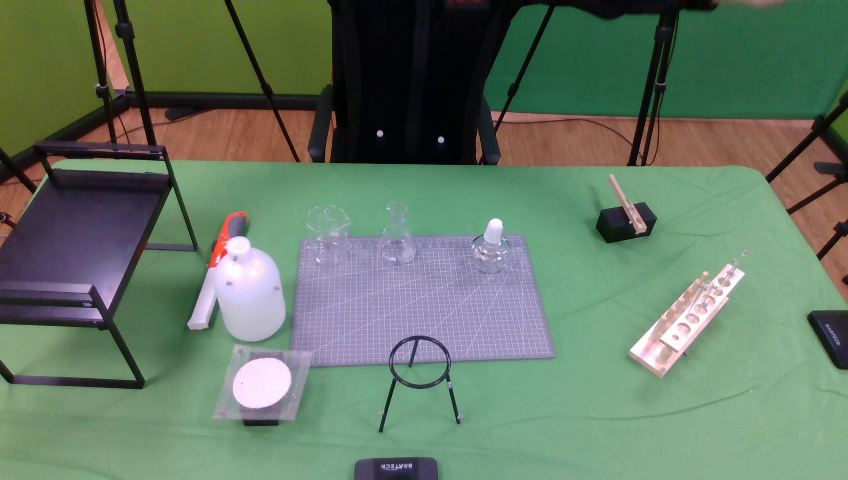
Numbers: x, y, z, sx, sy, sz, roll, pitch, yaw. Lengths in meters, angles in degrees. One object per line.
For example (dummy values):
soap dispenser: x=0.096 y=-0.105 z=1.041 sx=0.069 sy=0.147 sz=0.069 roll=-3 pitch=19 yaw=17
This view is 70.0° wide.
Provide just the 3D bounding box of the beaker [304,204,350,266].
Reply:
beaker: x=-0.178 y=-0.006 z=1.132 sx=0.084 sy=0.101 sz=0.073 roll=4 pitch=46 yaw=-1

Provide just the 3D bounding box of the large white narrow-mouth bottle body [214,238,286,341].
large white narrow-mouth bottle body: x=-0.285 y=0.073 z=0.986 sx=0.102 sy=0.195 sz=0.101 roll=2 pitch=46 yaw=-2

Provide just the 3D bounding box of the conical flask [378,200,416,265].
conical flask: x=-0.050 y=-0.018 z=1.136 sx=0.075 sy=0.122 sz=0.075 roll=2 pitch=46 yaw=-2

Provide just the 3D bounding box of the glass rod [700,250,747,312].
glass rod: x=0.500 y=0.075 z=1.021 sx=0.008 sy=0.201 sz=0.008 roll=0 pitch=55 yaw=1

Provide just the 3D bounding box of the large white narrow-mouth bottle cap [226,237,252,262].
large white narrow-mouth bottle cap: x=-0.282 y=0.014 z=0.923 sx=0.038 sy=0.024 sz=0.037 roll=2 pitch=46 yaw=-2

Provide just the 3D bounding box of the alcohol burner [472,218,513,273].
alcohol burner: x=0.128 y=0.005 z=1.132 sx=0.078 sy=0.120 sz=0.077 roll=0 pitch=47 yaw=0

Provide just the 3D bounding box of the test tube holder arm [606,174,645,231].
test tube holder arm: x=0.410 y=-0.080 z=1.238 sx=0.013 sy=0.015 sz=0.177 roll=1 pitch=41 yaw=-14

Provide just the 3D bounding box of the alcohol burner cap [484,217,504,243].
alcohol burner cap: x=0.130 y=-0.021 z=1.106 sx=0.034 sy=0.048 sz=0.033 roll=5 pitch=46 yaw=-5

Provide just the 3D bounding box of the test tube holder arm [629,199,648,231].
test tube holder arm: x=0.423 y=-0.050 z=1.206 sx=0.010 sy=0.015 sz=0.087 roll=2 pitch=41 yaw=-13

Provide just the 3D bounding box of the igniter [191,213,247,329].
igniter: x=-0.376 y=0.047 z=1.121 sx=0.057 sy=0.025 sz=0.275 roll=-4 pitch=46 yaw=6

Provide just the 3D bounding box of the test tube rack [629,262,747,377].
test tube rack: x=0.464 y=0.126 z=1.060 sx=0.242 sy=0.085 sz=0.066 roll=-34 pitch=56 yaw=-31

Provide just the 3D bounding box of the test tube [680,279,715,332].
test tube: x=0.445 y=0.119 z=0.997 sx=0.017 sy=0.151 sz=0.017 roll=1 pitch=44 yaw=-1

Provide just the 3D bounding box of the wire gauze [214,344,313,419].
wire gauze: x=-0.241 y=0.213 z=0.915 sx=0.121 sy=0.011 sz=0.124 roll=5 pitch=46 yaw=1

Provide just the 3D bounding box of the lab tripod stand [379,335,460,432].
lab tripod stand: x=-0.010 y=0.214 z=0.911 sx=0.148 sy=0.132 sz=0.147 roll=1 pitch=45 yaw=0
